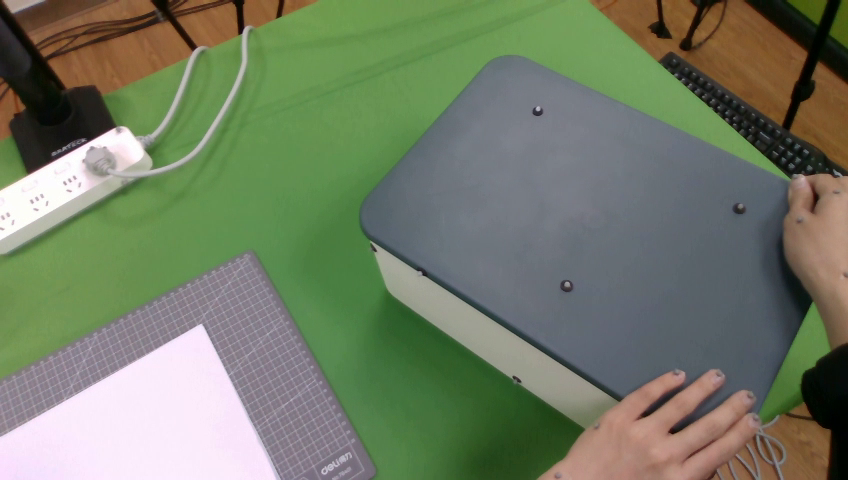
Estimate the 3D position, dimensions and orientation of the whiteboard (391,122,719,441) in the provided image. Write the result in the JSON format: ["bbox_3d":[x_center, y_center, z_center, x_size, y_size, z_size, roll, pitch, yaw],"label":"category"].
[{"bbox_3d":[0.147,0.016,0.627,0.303,0.145,0.216,31,63,17],"label":"whiteboard"}]

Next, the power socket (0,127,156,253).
[{"bbox_3d":[-0.442,-0.064,0.749,0.227,0.033,0.071,-34,66,-17],"label":"power socket"}]

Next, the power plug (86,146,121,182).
[{"bbox_3d":[-0.384,-0.083,0.732,0.035,0.053,0.072,-25,69,-12],"label":"power plug"}]

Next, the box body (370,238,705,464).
[{"bbox_3d":[0.155,0.019,0.611,0.362,0.162,0.253,32,67,18],"label":"box body"}]

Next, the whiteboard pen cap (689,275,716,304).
[{"bbox_3d":[0.302,0.054,0.660,0.018,0.018,0.033,35,68,19],"label":"whiteboard pen cap"}]

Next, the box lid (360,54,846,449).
[{"bbox_3d":[0.151,-0.021,0.543,0.369,0.015,0.262,32,68,19],"label":"box lid"}]

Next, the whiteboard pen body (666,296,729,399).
[{"bbox_3d":[0.292,0.109,0.639,0.017,0.017,0.140,33,64,19],"label":"whiteboard pen body"}]
